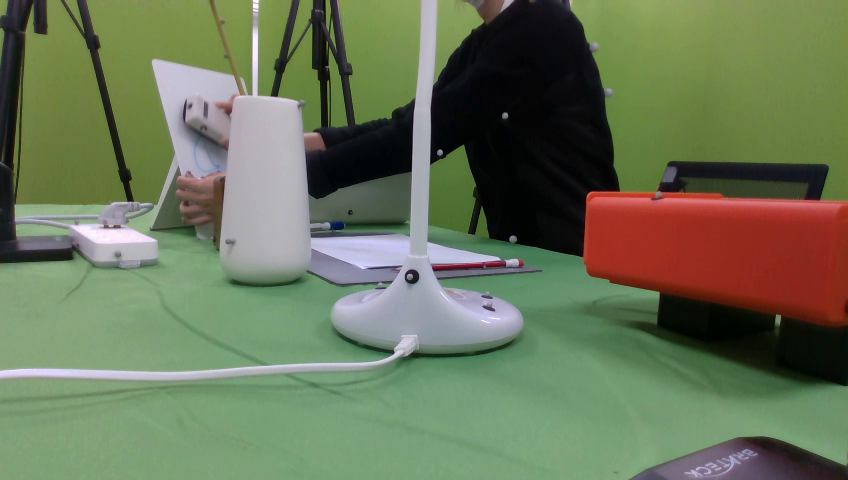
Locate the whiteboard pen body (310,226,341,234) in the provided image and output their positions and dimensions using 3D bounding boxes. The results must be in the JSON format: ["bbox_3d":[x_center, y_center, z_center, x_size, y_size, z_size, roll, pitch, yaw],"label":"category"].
[{"bbox_3d":[-0.205,-0.018,1.080,0.017,0.017,0.141,10,8,44],"label":"whiteboard pen body"}]

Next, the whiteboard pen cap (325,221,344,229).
[{"bbox_3d":[-0.166,-0.027,1.124,0.018,0.018,0.033,9,11,41],"label":"whiteboard pen cap"}]

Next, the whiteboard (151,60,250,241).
[{"bbox_3d":[-0.408,-0.139,1.094,0.143,0.305,0.218,-15,-1,26],"label":"whiteboard"}]

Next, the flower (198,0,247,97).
[{"bbox_3d":[-0.187,-0.133,0.648,0.038,0.362,0.044,-1,22,43],"label":"flower"}]

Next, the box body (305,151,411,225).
[{"bbox_3d":[-0.230,-0.126,1.371,0.366,0.160,0.253,-2,9,-33],"label":"box body"}]

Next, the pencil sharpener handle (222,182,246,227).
[{"bbox_3d":[-0.289,-0.055,0.912,0.036,0.067,0.030,-2,8,-29],"label":"pencil sharpener handle"}]

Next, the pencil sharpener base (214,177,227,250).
[{"bbox_3d":[-0.265,-0.036,0.870,0.061,0.107,0.076,-2,8,-29],"label":"pencil sharpener base"}]

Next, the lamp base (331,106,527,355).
[{"bbox_3d":[0.006,-0.012,0.478,0.161,0.180,0.179,2,10,2],"label":"lamp base"}]

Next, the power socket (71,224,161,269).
[{"bbox_3d":[-0.408,0.004,0.793,0.072,0.032,0.225,-2,8,-38],"label":"power socket"}]

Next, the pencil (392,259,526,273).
[{"bbox_3d":[0.049,0.035,0.782,0.195,0.012,0.012,-3,9,-24],"label":"pencil"}]

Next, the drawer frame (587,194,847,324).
[{"bbox_3d":[0.285,0.004,0.508,0.203,0.082,0.212,-1,6,-29],"label":"drawer frame"}]

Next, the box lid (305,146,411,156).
[{"bbox_3d":[-0.229,-0.200,1.360,0.373,0.015,0.262,-3,9,-33],"label":"box lid"}]

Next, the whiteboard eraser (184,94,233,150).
[{"bbox_3d":[-0.356,-0.197,1.030,0.041,0.055,0.113,-23,-30,22],"label":"whiteboard eraser"}]

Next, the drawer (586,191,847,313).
[{"bbox_3d":[0.282,0.001,0.513,0.195,0.073,0.210,-1,8,-29],"label":"drawer"}]

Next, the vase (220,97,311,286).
[{"bbox_3d":[-0.172,-0.052,0.662,0.098,0.200,0.098,3,8,0],"label":"vase"}]

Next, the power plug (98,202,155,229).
[{"bbox_3d":[-0.416,-0.026,0.848,0.073,0.052,0.035,0,8,-28],"label":"power plug"}]
